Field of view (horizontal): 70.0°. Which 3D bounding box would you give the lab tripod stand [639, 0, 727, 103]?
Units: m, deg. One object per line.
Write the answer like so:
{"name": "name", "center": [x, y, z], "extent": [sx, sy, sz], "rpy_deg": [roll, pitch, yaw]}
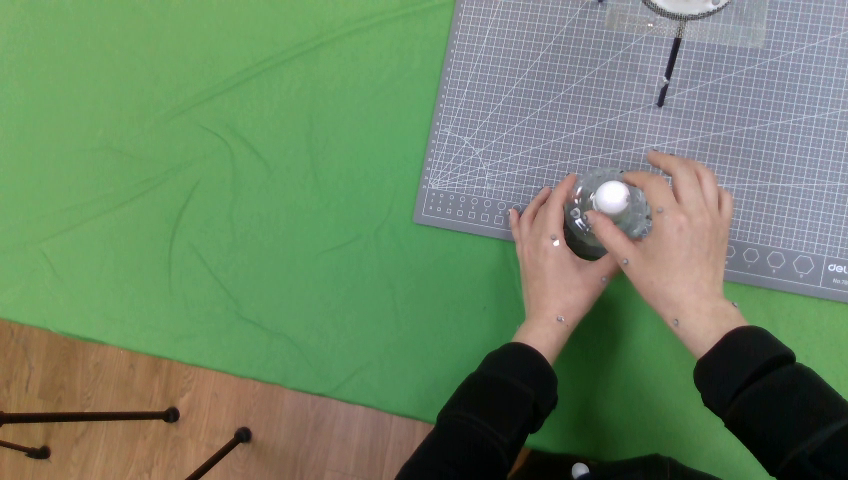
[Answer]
{"name": "lab tripod stand", "center": [0.225, -0.214, 0.550], "extent": [0.148, 0.132, 0.148], "rpy_deg": [-1, 87, 10]}

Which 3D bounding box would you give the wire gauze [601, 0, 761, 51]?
{"name": "wire gauze", "center": [0.212, -0.221, 0.485], "extent": [0.125, 0.011, 0.121], "rpy_deg": [10, 91, 9]}

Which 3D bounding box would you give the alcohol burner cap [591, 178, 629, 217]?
{"name": "alcohol burner cap", "center": [0.161, -0.038, 0.522], "extent": [0.034, 0.048, 0.034], "rpy_deg": [-1, 87, 15]}

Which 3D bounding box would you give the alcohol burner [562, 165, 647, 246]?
{"name": "alcohol burner", "center": [0.168, -0.034, 0.558], "extent": [0.078, 0.119, 0.077], "rpy_deg": [-1, 85, 9]}

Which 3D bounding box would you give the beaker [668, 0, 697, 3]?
{"name": "beaker", "center": [0.198, -0.226, 0.439], "extent": [0.083, 0.100, 0.074], "rpy_deg": [24, 91, 12]}
